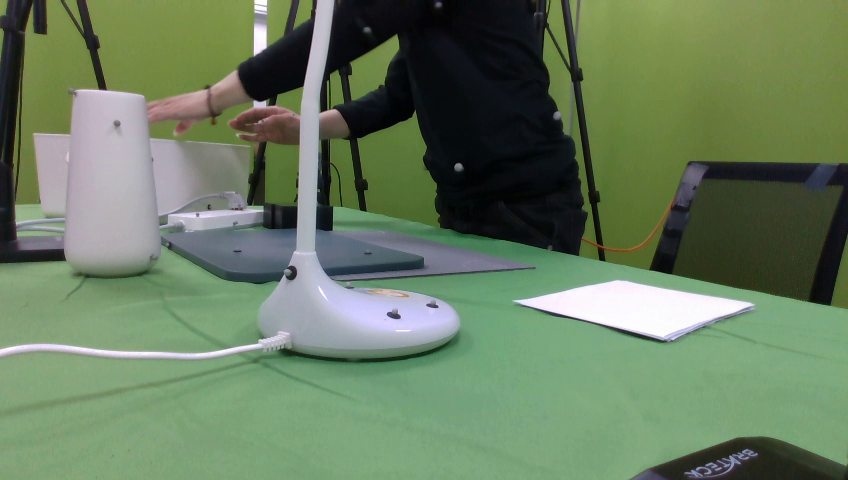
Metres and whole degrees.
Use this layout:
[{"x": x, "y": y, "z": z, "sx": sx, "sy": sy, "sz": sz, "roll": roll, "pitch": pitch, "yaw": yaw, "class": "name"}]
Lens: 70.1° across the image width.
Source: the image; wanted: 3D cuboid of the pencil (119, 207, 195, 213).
[{"x": -0.586, "y": -0.068, "z": 1.343, "sx": 0.012, "sy": 0.012, "sz": 0.195, "roll": 6, "pitch": 7, "yaw": 28, "class": "pencil"}]

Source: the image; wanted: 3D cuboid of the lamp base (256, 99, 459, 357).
[{"x": -0.055, "y": -0.013, "z": 0.463, "sx": 0.160, "sy": 0.180, "sz": 0.180, "roll": 6, "pitch": 11, "yaw": 27, "class": "lamp base"}]

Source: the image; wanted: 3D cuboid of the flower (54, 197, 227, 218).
[{"x": -0.573, "y": -0.058, "z": 1.266, "sx": 0.044, "sy": 0.038, "sz": 0.364, "roll": 37, "pitch": 21, "yaw": 33, "class": "flower"}]

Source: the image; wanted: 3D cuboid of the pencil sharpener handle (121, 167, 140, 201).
[{"x": -0.586, "y": -0.112, "z": 1.193, "sx": 0.030, "sy": 0.067, "sz": 0.036, "roll": 6, "pitch": 13, "yaw": 21, "class": "pencil sharpener handle"}]

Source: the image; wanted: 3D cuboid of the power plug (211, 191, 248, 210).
[{"x": -0.384, "y": -0.071, "z": 1.206, "sx": 0.072, "sy": 0.052, "sz": 0.035, "roll": 2, "pitch": 10, "yaw": 29, "class": "power plug"}]

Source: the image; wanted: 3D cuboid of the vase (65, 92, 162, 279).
[{"x": -0.348, "y": -0.060, "z": 0.673, "sx": 0.098, "sy": 0.200, "sz": 0.098, "roll": 1, "pitch": 7, "yaw": 0, "class": "vase"}]

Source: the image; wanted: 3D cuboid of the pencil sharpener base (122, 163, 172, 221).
[{"x": -0.539, "y": -0.094, "z": 1.176, "sx": 0.076, "sy": 0.107, "sz": 0.061, "roll": 6, "pitch": 8, "yaw": 21, "class": "pencil sharpener base"}]

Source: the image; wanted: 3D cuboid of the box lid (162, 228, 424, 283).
[{"x": -0.200, "y": 0.014, "z": 0.861, "sx": 0.265, "sy": 0.015, "sz": 0.369, "roll": -3, "pitch": 9, "yaw": -35, "class": "box lid"}]

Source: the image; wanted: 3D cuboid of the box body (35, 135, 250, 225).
[{"x": -0.560, "y": -0.127, "z": 1.257, "sx": 0.253, "sy": 0.160, "sz": 0.365, "roll": 4, "pitch": 8, "yaw": 15, "class": "box body"}]

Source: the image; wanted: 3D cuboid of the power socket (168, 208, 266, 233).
[{"x": -0.379, "y": -0.038, "z": 1.129, "sx": 0.072, "sy": 0.032, "sz": 0.227, "roll": 4, "pitch": 8, "yaw": 18, "class": "power socket"}]
